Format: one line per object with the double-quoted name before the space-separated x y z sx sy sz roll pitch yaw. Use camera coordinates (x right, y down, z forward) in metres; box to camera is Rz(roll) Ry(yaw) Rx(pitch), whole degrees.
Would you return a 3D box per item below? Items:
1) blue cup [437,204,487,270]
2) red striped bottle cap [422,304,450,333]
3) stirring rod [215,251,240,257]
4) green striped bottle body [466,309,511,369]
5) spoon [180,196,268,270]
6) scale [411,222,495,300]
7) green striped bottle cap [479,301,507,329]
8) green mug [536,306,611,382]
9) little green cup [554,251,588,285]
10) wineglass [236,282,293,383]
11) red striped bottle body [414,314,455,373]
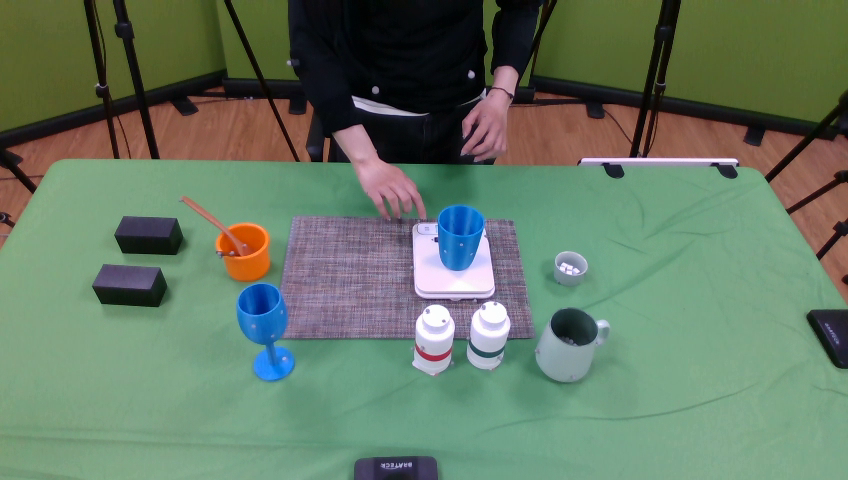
"blue cup" 0.062 0.000 1.098 0.093 0.101 0.092 2 44 -2
"red striped bottle cap" 0.018 0.121 0.939 0.044 0.018 0.044 1 48 0
"stirring rod" -0.339 0.024 1.059 0.014 0.176 0.006 16 86 -6
"green striped bottle body" 0.105 0.154 0.988 0.063 0.120 0.063 2 46 -2
"spoon" -0.360 -0.014 1.094 0.021 0.194 0.041 -27 26 31
"scale" 0.052 0.031 1.158 0.149 0.032 0.199 1 46 -4
"green striped bottle cap" 0.109 0.118 0.950 0.044 0.020 0.044 2 46 -2
"green mug" 0.250 0.167 0.996 0.125 0.105 0.092 -15 48 -19
"little green cup" 0.277 0.055 1.151 0.061 0.039 0.061 1 46 -1
"wineglass" -0.243 0.143 0.934 0.074 0.173 0.073 2 46 -2
"red striped bottle body" 0.016 0.158 0.977 0.063 0.120 0.062 2 46 -2
